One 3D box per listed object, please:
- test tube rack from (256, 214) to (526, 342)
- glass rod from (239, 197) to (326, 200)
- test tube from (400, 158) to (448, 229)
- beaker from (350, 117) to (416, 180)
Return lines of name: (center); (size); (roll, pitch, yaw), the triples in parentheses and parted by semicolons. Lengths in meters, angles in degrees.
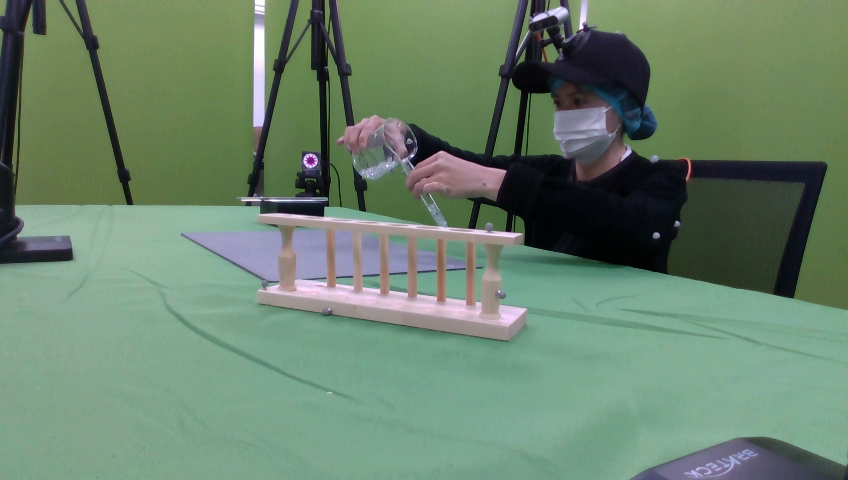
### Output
test tube rack: (-0.032, 0.027, 0.547); (0.241, 0.085, 0.067); (5, 7, 22)
glass rod: (-0.288, -0.087, 1.250); (0.201, 0.008, 0.008); (-4, 10, -42)
test tube: (0.000, -0.073, 0.956); (0.017, 0.017, 0.149); (-4, 53, -41)
beaker: (-0.072, -0.150, 1.030); (0.074, 0.084, 0.100); (-1, -20, -44)
